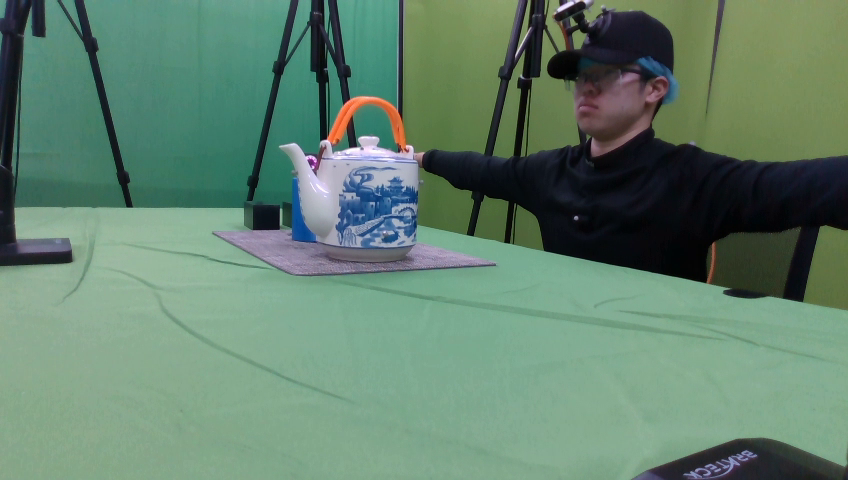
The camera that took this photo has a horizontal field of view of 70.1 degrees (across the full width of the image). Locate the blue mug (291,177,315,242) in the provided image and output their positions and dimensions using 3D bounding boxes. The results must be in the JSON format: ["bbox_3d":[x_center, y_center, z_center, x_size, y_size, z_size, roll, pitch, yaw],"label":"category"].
[{"bbox_3d":[-0.170,-0.054,1.037,0.117,0.106,0.082,-2,9,-31],"label":"blue mug"}]

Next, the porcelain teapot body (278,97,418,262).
[{"bbox_3d":[-0.104,-0.086,0.842,0.206,0.225,0.144,-4,10,-38],"label":"porcelain teapot body"}]

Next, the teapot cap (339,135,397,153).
[{"bbox_3d":[-0.080,-0.126,0.853,0.085,0.044,0.085,-1,5,0],"label":"teapot cap"}]
